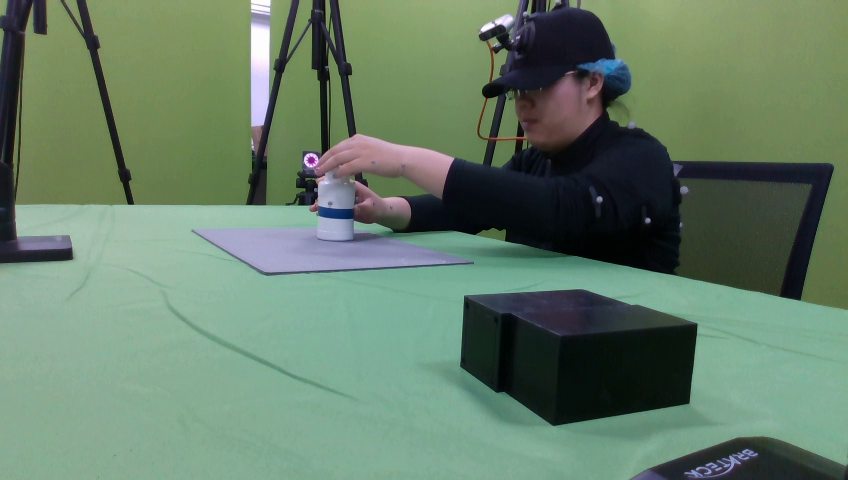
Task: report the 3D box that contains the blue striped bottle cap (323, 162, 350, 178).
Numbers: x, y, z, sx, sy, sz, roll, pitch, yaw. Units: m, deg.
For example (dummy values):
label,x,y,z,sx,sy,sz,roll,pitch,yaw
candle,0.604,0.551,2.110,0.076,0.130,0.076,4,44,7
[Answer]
label,x,y,z,sx,sy,sz,roll,pitch,yaw
blue striped bottle cap,-0.147,-0.116,1.019,0.044,0.020,0.044,10,15,-2

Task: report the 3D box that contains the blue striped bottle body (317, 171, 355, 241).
label,x,y,z,sx,sy,sz,roll,pitch,yaw
blue striped bottle body,-0.149,-0.061,1.024,0.063,0.120,0.063,2,8,0
